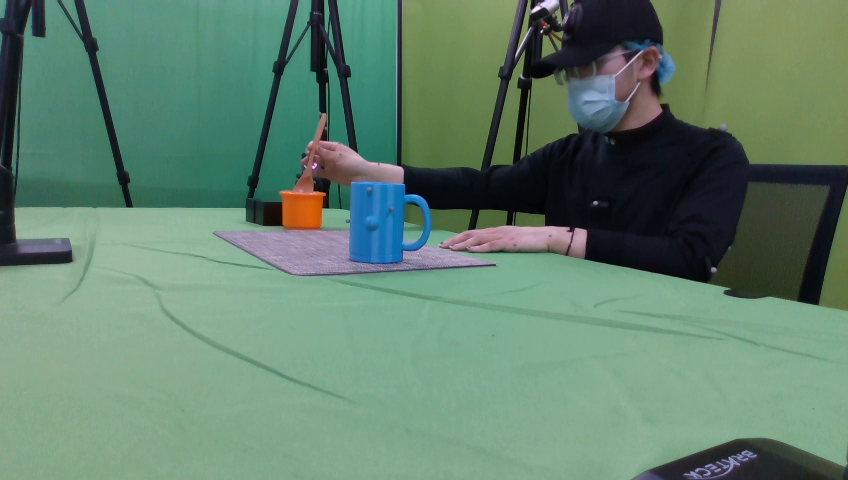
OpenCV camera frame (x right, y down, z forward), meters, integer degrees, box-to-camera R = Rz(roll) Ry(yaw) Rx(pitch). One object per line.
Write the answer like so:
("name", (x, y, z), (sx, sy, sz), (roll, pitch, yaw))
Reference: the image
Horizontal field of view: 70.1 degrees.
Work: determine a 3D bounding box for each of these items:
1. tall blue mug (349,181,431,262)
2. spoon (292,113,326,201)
("tall blue mug", (-0.051, -0.028, 0.849), (0.108, 0.108, 0.077), (-1, 7, -22))
("spoon", (-0.230, -0.171, 1.243), (0.041, 0.193, 0.022), (13, -6, 12))
